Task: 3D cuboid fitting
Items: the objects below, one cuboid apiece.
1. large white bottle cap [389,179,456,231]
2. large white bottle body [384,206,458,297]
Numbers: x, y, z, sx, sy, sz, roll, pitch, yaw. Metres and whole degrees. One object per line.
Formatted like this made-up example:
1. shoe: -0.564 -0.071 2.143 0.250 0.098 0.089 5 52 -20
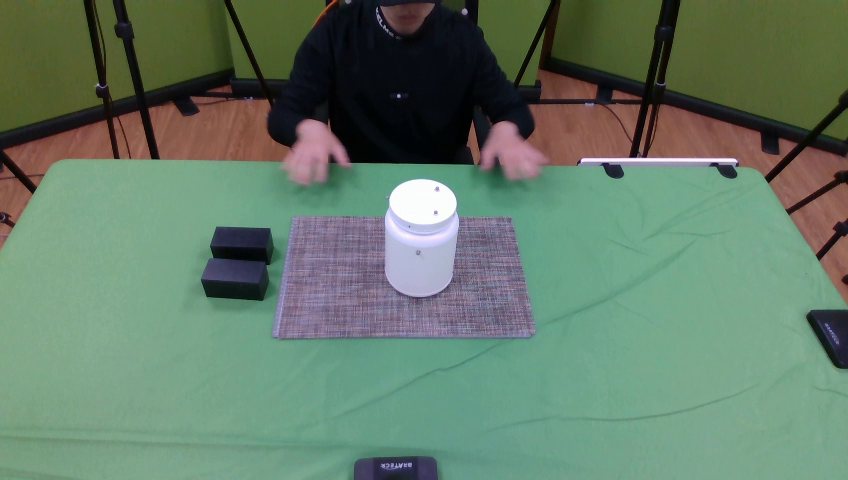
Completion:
1. large white bottle cap: -0.003 -0.061 1.020 0.115 0.018 0.114 2 46 -2
2. large white bottle body: -0.006 -0.002 1.082 0.131 0.185 0.130 2 46 -2
